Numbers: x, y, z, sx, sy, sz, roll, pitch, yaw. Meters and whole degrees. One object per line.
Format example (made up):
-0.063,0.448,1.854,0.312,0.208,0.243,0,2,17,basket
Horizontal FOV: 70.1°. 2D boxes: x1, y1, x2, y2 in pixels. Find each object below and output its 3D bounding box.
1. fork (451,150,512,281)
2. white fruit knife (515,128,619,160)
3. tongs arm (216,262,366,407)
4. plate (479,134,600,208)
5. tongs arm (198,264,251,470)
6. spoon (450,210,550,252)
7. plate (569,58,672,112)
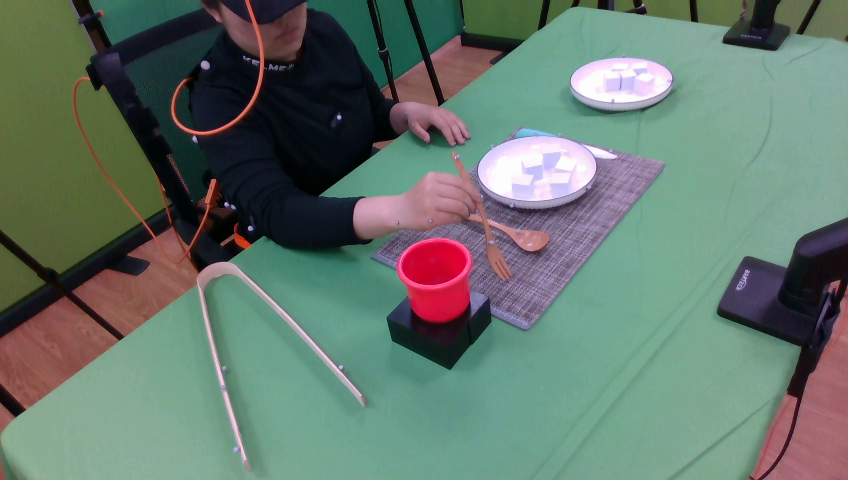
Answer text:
0.083,-0.034,0.880,0.028,0.208,0.018,-31,15,-35,fork
0.269,-0.182,1.148,0.206,0.016,0.027,21,78,29,white fruit knife
-0.201,0.122,0.871,0.028,0.028,0.384,-36,46,-24,tongs arm
0.202,-0.117,1.065,0.207,0.039,0.206,-5,40,5,plate
-0.270,0.154,0.841,0.051,0.026,0.381,-23,41,-17,tongs arm
0.119,-0.022,0.979,0.192,0.022,0.041,24,69,33,spoon
0.411,-0.323,1.274,0.209,0.038,0.208,-5,41,5,plate
